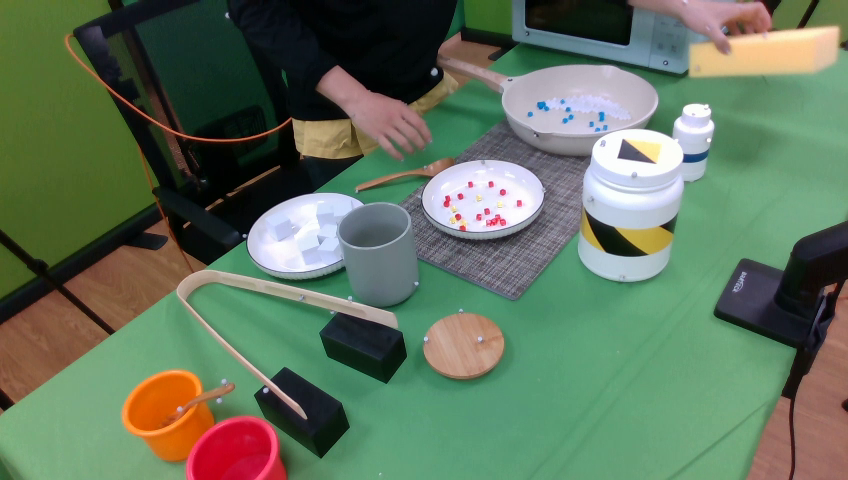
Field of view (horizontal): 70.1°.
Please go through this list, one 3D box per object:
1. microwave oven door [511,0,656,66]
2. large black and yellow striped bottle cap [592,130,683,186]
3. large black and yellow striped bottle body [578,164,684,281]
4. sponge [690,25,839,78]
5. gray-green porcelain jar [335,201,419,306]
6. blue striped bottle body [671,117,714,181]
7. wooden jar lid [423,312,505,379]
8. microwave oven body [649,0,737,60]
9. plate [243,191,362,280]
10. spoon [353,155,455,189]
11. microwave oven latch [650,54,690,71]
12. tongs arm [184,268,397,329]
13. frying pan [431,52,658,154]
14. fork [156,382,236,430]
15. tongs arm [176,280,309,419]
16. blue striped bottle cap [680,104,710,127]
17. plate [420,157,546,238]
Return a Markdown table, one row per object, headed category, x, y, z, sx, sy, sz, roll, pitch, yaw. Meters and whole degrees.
| category | x | y | z | sx | sy | sz | roll | pitch | yaw |
| --- | --- | --- | --- | --- | --- | --- | --- | --- | --- |
| microwave oven door | 0.351 | -0.539 | 1.349 | 0.353 | 0.245 | 0.039 | 24 | 50 | 31 |
| large black and yellow striped bottle cap | 0.282 | -0.111 | 0.803 | 0.115 | 0.019 | 0.114 | -3 | 41 | 3 |
| large black and yellow striped bottle body | 0.292 | -0.046 | 0.859 | 0.131 | 0.185 | 0.130 | -4 | 41 | 4 |
| sponge | 0.598 | -0.331 | 1.071 | 0.205 | 0.061 | 0.119 | 11 | 29 | 44 |
| gray-green porcelain jar | -0.064 | 0.024 | 0.872 | 0.106 | 0.127 | 0.105 | -4 | 41 | 4 |
| blue striped bottle body | 0.449 | -0.165 | 1.022 | 0.063 | 0.121 | 0.063 | -5 | 41 | 4 |
| wooden jar lid | 0.053 | 0.142 | 0.800 | 0.108 | 0.021 | 0.108 | -5 | 39 | 4 |
| microwave oven body | 0.475 | -0.602 | 1.411 | 0.438 | 0.261 | 0.327 | 23 | 50 | 32 |
| plate | -0.187 | -0.005 | 0.992 | 0.207 | 0.039 | 0.206 | -4 | 41 | 4 |
| spoon | -0.038 | -0.123 | 1.116 | 0.194 | 0.022 | 0.041 | -12 | 57 | -3 |
| microwave oven latch | 0.531 | -0.386 | 1.301 | 0.078 | 0.029 | 0.030 | 25 | 51 | 33 |
| tongs arm | -0.202 | 0.084 | 0.848 | 0.382 | 0.027 | 0.051 | 11 | 45 | 35 |
| frying pan | 0.216 | -0.302 | 1.224 | 0.484 | 0.103 | 0.308 | 29 | 49 | 24 |
| fork | -0.262 | 0.189 | 0.690 | 0.018 | 0.206 | 0.028 | 49 | 43 | -7 |
| tongs arm | -0.254 | 0.133 | 0.802 | 0.028 | 0.028 | 0.384 | -41 | 41 | -23 |
| blue striped bottle cap | 0.443 | -0.205 | 0.989 | 0.044 | 0.021 | 0.044 | -1 | 41 | 2 |
| plate | 0.099 | -0.067 | 1.017 | 0.209 | 0.038 | 0.208 | -4 | 40 | 4 |
